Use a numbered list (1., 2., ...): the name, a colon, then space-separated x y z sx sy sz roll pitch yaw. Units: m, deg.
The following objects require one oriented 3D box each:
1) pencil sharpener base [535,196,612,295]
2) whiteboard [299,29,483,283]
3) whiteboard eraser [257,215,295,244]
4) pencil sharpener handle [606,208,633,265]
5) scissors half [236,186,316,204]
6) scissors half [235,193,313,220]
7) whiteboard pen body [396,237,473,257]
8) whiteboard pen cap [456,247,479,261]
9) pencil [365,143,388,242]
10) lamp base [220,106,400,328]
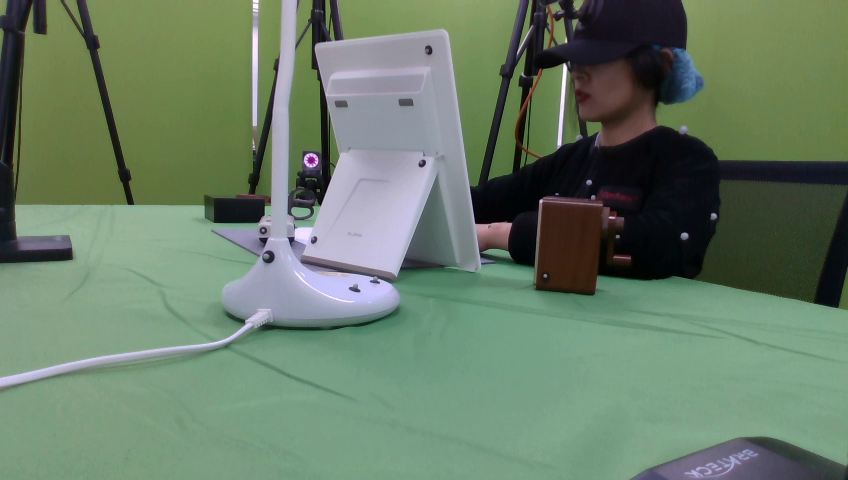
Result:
1. pencil sharpener base: 0.172 0.005 0.695 0.076 0.107 0.061 5 7 16
2. whiteboard: -0.074 -0.082 0.741 0.216 0.305 0.144 9 30 38
3. whiteboard eraser: -0.232 -0.016 0.951 0.056 0.042 0.112 2 7 -12
4. pencil sharpener handle: 0.223 -0.004 0.683 0.030 0.068 0.036 5 21 16
5. scissors half: -0.320 -0.097 1.316 0.176 0.040 0.013 -3 11 -29
6. scissors half: -0.324 -0.077 1.319 0.176 0.040 0.012 17 6 -31
7. whiteboard pen body: 0.014 0.012 0.886 0.140 0.017 0.017 10 11 38
8. whiteboard pen cap: 0.060 0.020 0.851 0.033 0.018 0.018 10 10 37
9. pencil: -0.083 -0.085 1.047 0.012 0.193 0.012 8 -22 4
10. lamp base: -0.101 -0.023 0.531 0.160 0.180 0.179 4 10 10
